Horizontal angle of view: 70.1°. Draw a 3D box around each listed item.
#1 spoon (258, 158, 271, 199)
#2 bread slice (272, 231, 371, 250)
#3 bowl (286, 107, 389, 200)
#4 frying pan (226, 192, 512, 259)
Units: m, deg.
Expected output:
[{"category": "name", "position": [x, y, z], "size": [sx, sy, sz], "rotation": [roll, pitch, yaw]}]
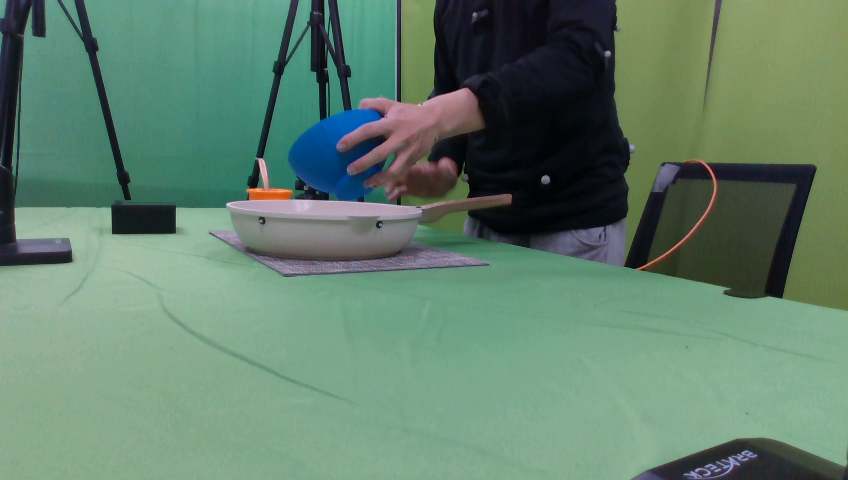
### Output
[{"category": "spoon", "position": [-0.332, -0.107, 1.269], "size": [0.042, 0.021, 0.193], "rotation": [0, 53, -23]}, {"category": "bread slice", "position": [-0.148, 0.001, 0.929], "size": [0.133, 0.018, 0.107], "rotation": [5, 8, 38]}, {"category": "bowl", "position": [-0.107, -0.109, 0.848], "size": [0.151, 0.076, 0.151], "rotation": [-26, -15, -7]}, {"category": "frying pan", "position": [-0.058, -0.041, 0.975], "size": [0.490, 0.102, 0.305], "rotation": [-11, 13, -26]}]
